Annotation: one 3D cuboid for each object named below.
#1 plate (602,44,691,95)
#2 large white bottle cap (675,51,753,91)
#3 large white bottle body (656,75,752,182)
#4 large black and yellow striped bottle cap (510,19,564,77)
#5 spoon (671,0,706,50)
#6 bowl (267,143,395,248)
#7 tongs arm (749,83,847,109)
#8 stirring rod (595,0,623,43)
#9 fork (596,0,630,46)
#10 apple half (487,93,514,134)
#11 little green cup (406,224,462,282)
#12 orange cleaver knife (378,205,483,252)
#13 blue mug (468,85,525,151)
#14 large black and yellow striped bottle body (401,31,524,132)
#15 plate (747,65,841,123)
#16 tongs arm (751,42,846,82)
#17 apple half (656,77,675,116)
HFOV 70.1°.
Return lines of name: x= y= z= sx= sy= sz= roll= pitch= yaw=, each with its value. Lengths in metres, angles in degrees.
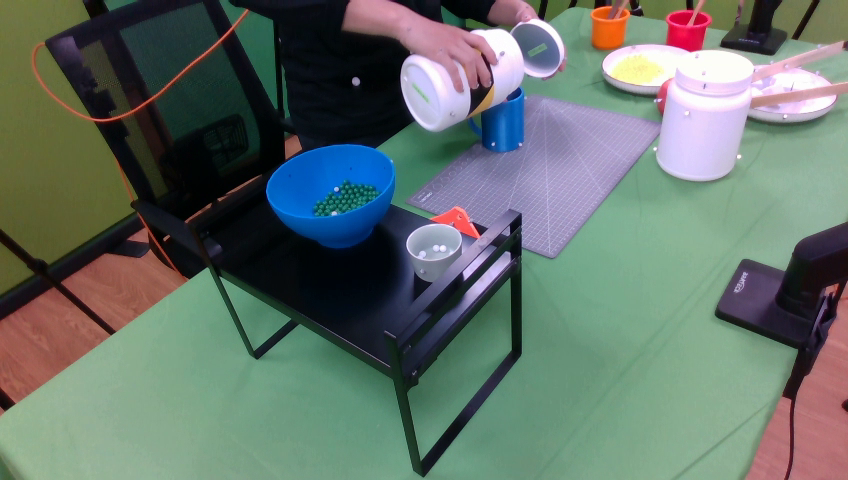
plate: x=0.495 y=-0.367 z=1.317 sx=0.209 sy=0.038 sz=0.208 roll=-4 pitch=40 yaw=4
large white bottle cap: x=0.463 y=-0.271 z=0.967 sx=0.115 sy=0.018 sz=0.114 roll=-4 pitch=40 yaw=3
large white bottle body: x=0.472 y=-0.207 z=1.022 sx=0.130 sy=0.185 sz=0.130 roll=-4 pitch=41 yaw=4
large black and yellow striped bottle cap: x=0.216 y=-0.369 z=1.165 sx=0.114 sy=0.115 sz=0.019 roll=23 pitch=58 yaw=31
spoon: x=0.629 y=-0.520 z=1.394 sx=0.041 sy=0.022 sz=0.193 roll=30 pitch=97 yaw=34
bowl: x=-0.104 y=-0.043 z=0.726 sx=0.151 sy=0.077 sz=0.150 roll=-4 pitch=41 yaw=4
tongs arm: x=0.734 y=-0.280 z=1.133 sx=0.388 sy=0.028 sz=0.028 roll=-9 pitch=47 yaw=-5
stirring rod: x=0.460 y=-0.556 z=1.459 sx=0.014 sy=0.006 sz=0.176 roll=30 pitch=93 yaw=23
fork: x=0.481 y=-0.556 z=1.452 sx=0.028 sy=0.019 sz=0.207 roll=40 pitch=103 yaw=40
apple half: x=0.141 y=-0.239 z=1.158 sx=0.033 sy=0.081 sz=0.080 roll=-13 pitch=40 yaw=-17
little green cup: x=0.013 y=0.015 z=0.668 sx=0.061 sy=0.039 sz=0.061 roll=-4 pitch=40 yaw=4
orange cleaver knife: x=0.005 y=-0.010 z=0.943 sx=0.210 sy=0.077 sz=0.012 roll=-5 pitch=23 yaw=47
blue mug: x=0.138 y=-0.241 z=1.169 sx=0.116 sy=0.106 sz=0.082 roll=11 pitch=44 yaw=21
large black and yellow striped bottle body: x=0.068 y=-0.277 z=1.036 sx=0.185 sy=0.131 sz=0.129 roll=-29 pitch=45 yaw=-22
plate: x=0.694 y=-0.282 z=1.189 sx=0.207 sy=0.039 sz=0.206 roll=-4 pitch=40 yaw=4
tongs arm: x=0.708 y=-0.331 z=1.193 sx=0.386 sy=0.026 sz=0.050 roll=-18 pitch=45 yaw=-16
apple half: x=0.488 y=-0.281 z=1.192 sx=0.053 sy=0.075 sz=0.081 roll=24 pitch=54 yaw=37
